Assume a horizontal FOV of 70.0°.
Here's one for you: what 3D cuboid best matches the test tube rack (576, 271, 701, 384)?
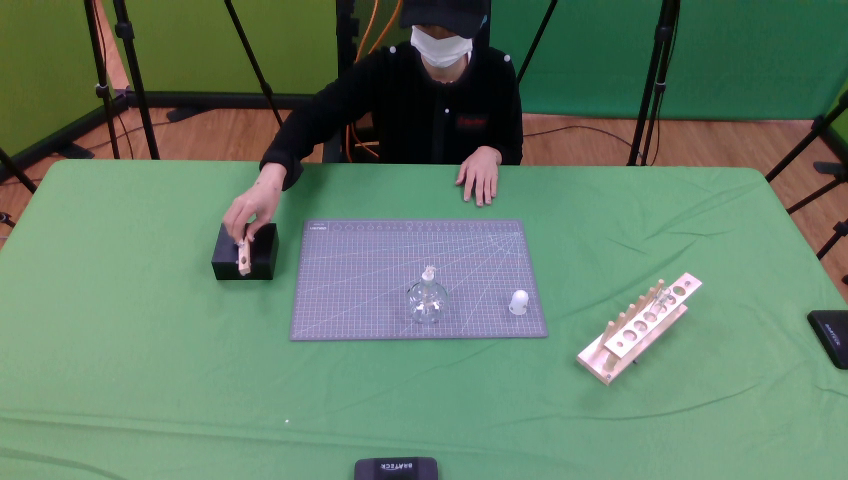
[{"bbox_3d":[0.373,0.138,1.047,0.242,0.085,0.066,-31,56,-29],"label":"test tube rack"}]

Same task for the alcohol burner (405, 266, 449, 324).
[{"bbox_3d":[0.005,0.089,1.043,0.078,0.120,0.077,1,45,-1],"label":"alcohol burner"}]

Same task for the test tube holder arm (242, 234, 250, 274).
[{"bbox_3d":[-0.316,0.024,1.072,0.010,0.015,0.087,-5,45,-16],"label":"test tube holder arm"}]

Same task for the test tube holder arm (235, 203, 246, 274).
[{"bbox_3d":[-0.334,-0.006,1.101,0.013,0.015,0.177,-6,45,-17],"label":"test tube holder arm"}]

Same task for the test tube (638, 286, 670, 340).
[{"bbox_3d":[0.373,0.122,0.994,0.017,0.151,0.017,0,51,0],"label":"test tube"}]

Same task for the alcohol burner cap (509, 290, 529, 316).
[{"bbox_3d":[0.171,0.110,1.086,0.034,0.048,0.033,2,45,-1],"label":"alcohol burner cap"}]
